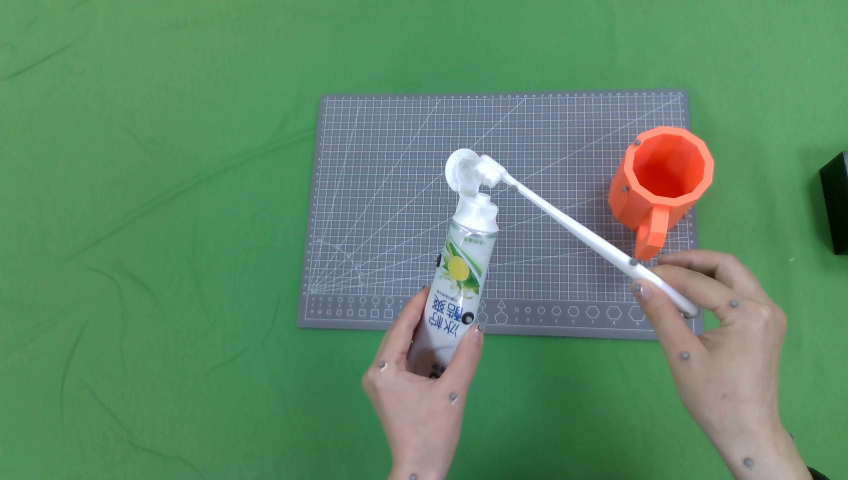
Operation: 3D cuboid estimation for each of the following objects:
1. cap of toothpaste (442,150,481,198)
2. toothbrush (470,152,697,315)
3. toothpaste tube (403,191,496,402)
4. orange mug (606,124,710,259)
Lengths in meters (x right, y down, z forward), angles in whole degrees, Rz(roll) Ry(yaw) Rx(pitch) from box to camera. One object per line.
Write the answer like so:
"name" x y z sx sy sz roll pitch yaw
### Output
"cap of toothpaste" 0.030 -0.049 0.447 0.037 0.011 0.037 -2 95 -32
"toothbrush" 0.106 -0.005 0.416 0.181 0.014 0.016 37 60 11
"toothpaste tube" 0.021 0.041 0.458 0.054 0.034 0.165 24 111 32
"orange mug" 0.242 -0.047 0.643 0.083 0.101 0.125 9 71 10
